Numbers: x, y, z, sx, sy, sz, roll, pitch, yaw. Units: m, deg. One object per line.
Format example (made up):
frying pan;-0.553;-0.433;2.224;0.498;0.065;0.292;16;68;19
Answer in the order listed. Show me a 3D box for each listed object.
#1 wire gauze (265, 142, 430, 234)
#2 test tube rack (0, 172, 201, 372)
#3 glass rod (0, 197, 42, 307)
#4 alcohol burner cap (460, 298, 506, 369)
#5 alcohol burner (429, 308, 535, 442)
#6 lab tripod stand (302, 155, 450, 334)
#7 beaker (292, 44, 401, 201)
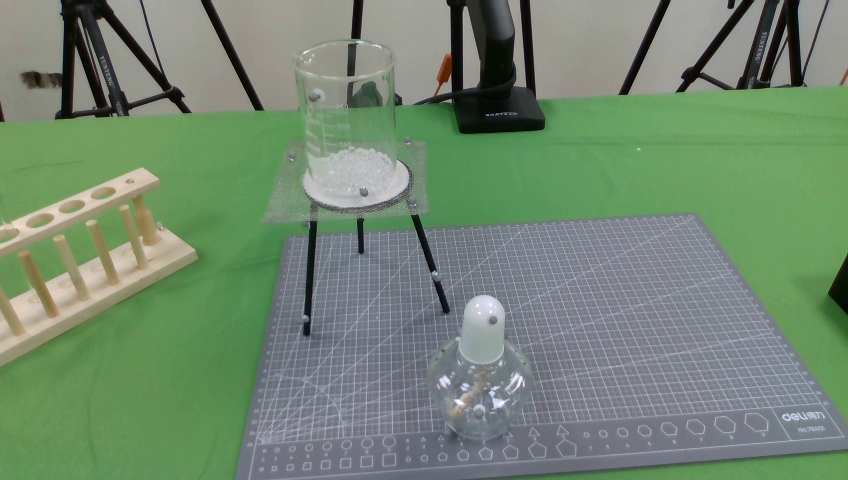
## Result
wire gauze;-0.057;-0.048;0.487;0.121;0.011;0.124;-2;39;-1
test tube rack;-0.335;0.033;0.544;0.066;0.086;0.242;28;46;33
glass rod;-0.359;-0.026;0.513;0.008;0.201;0.008;0;30;1
alcohol burner cap;0.042;0.060;0.409;0.034;0.048;0.033;1;39;0
alcohol burner;0.042;0.089;0.431;0.078;0.120;0.077;0;39;1
lab tripod stand;-0.048;0.003;0.530;0.148;0.132;0.147;0;36;0
beaker;-0.059;-0.088;0.460;0.083;0.101;0.074;22;42;25
